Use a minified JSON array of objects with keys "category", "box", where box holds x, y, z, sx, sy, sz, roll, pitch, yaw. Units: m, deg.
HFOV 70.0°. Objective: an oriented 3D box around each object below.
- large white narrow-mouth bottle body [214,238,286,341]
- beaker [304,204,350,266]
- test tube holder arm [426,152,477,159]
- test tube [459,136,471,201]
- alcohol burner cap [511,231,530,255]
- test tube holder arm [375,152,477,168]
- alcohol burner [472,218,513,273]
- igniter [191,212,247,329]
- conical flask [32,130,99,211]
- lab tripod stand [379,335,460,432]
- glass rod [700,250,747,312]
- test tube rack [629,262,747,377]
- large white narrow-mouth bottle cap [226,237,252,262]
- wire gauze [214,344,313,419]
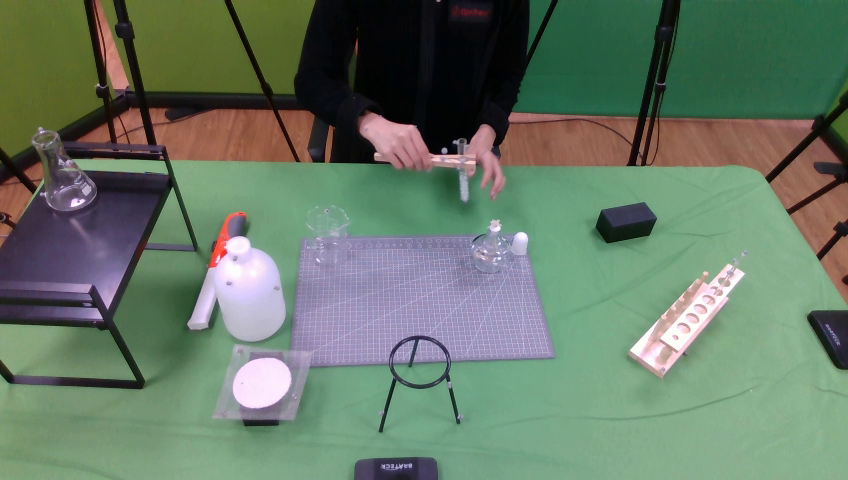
[{"category":"large white narrow-mouth bottle body","box":[-0.285,0.073,0.986,0.102,0.195,0.101,2,46,-2]},{"category":"beaker","box":[-0.178,-0.006,1.132,0.084,0.101,0.073,4,46,-1]},{"category":"test tube holder arm","box":[0.048,-0.143,1.051,0.088,0.015,0.010,-2,52,3]},{"category":"test tube","box":[0.072,-0.122,1.066,0.017,0.151,0.017,-3,52,4]},{"category":"alcohol burner cap","box":[0.191,0.003,1.188,0.034,0.048,0.033,3,45,-3]},{"category":"test tube holder arm","box":[0.003,-0.140,1.053,0.178,0.015,0.013,5,52,8]},{"category":"alcohol burner","box":[0.128,0.005,1.132,0.078,0.120,0.077,0,47,0]},{"category":"igniter","box":[-0.376,0.047,1.121,0.057,0.025,0.275,-4,46,6]},{"category":"conical flask","box":[-0.565,-0.110,0.944,0.075,0.122,0.075,2,46,-2]},{"category":"lab tripod stand","box":[-0.010,0.214,0.911,0.148,0.132,0.147,1,45,0]},{"category":"glass rod","box":[0.500,0.075,1.021,0.008,0.201,0.008,0,55,1]},{"category":"test tube rack","box":[0.464,0.126,1.061,0.242,0.085,0.066,-34,56,-30]},{"category":"large white narrow-mouth bottle cap","box":[-0.282,0.014,0.923,0.038,0.024,0.037,2,46,-2]},{"category":"wire gauze","box":[-0.241,0.213,0.915,0.121,0.011,0.124,5,46,1]}]
